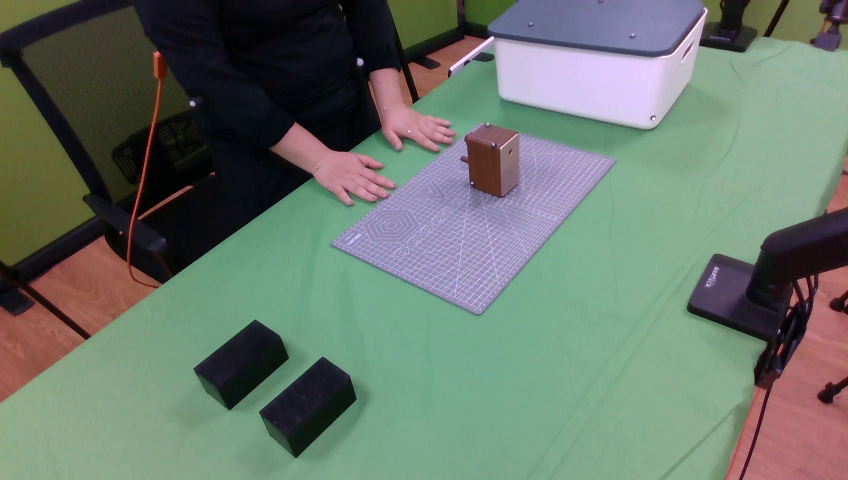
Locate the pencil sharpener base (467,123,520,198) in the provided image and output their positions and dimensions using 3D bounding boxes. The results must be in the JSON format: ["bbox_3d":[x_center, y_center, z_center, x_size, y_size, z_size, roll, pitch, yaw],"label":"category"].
[{"bbox_3d":[0.119,-0.138,1.044,0.076,0.107,0.061,23,50,32],"label":"pencil sharpener base"}]

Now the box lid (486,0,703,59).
[{"bbox_3d":[0.338,-0.437,1.204,0.369,0.015,0.264,18,48,29],"label":"box lid"}]

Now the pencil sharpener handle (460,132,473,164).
[{"bbox_3d":[0.077,-0.163,1.062,0.030,0.068,0.036,23,43,32],"label":"pencil sharpener handle"}]

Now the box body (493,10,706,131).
[{"bbox_3d":[0.354,-0.377,1.254,0.361,0.161,0.254,20,48,28],"label":"box body"}]
